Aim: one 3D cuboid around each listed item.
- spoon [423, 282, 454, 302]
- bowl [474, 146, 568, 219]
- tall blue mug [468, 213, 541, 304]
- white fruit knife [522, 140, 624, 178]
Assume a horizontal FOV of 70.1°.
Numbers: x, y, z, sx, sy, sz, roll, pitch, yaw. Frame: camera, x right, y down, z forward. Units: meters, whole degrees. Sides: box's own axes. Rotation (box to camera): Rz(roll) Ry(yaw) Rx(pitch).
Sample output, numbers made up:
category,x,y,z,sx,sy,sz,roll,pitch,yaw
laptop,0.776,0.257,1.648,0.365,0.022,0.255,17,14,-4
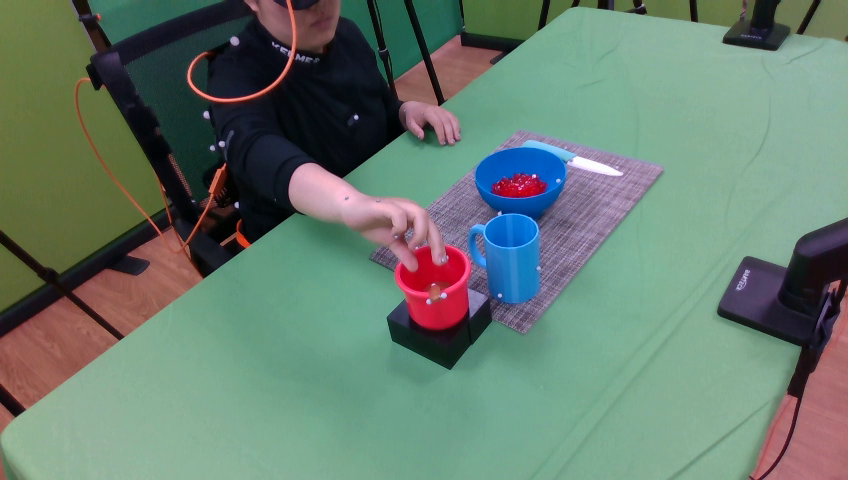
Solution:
category,x,y,z,sx,sy,sz,roll,pitch,yaw
spoon,0.015,0.062,0.733,0.041,0.021,0.194,-5,-4,3
bowl,0.161,-0.083,1.001,0.151,0.077,0.150,-5,40,5
tall blue mug,0.111,0.026,0.856,0.107,0.108,0.077,2,42,13
white fruit knife,0.270,-0.149,1.110,0.206,0.016,0.027,25,80,32
